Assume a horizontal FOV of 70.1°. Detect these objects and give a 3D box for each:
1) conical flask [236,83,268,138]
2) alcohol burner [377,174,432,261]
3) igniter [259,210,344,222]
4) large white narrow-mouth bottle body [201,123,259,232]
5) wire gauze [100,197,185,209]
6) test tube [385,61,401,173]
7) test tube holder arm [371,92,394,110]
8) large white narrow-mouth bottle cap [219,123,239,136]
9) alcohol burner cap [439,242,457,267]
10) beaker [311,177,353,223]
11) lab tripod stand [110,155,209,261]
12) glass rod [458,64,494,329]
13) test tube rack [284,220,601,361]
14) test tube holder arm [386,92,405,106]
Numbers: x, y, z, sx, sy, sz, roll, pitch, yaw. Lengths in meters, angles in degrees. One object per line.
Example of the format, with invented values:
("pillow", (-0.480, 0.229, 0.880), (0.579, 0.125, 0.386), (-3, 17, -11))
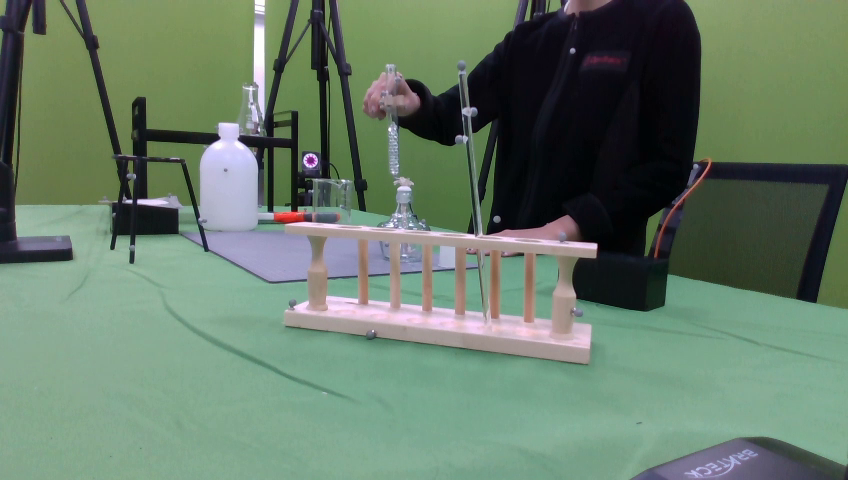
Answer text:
("conical flask", (-0.400, -0.298, 1.396), (0.075, 0.122, 0.075), (2, 8, 0))
("alcohol burner", (-0.027, -0.031, 0.838), (0.078, 0.119, 0.078), (0, 6, 0))
("igniter", (-0.303, -0.049, 1.258), (0.278, 0.025, 0.057), (-2, -2, -28))
("large white narrow-mouth bottle body", (-0.358, -0.116, 1.116), (0.102, 0.194, 0.102), (2, 8, 0))
("wire gauze", (-0.469, -0.062, 1.008), (0.126, 0.011, 0.121), (-2, 8, -25))
("test tube", (-0.043, -0.168, 0.831), (0.017, 0.150, 0.017), (-2, 8, 1))
("test tube holder arm", (-0.063, -0.203, 0.890), (0.013, 0.015, 0.178), (-2, 9, -14))
("large white narrow-mouth bottle cap", (-0.356, -0.201, 1.104), (0.038, 0.024, 0.037), (2, 8, 0))
("alcohol burner cap", (0.037, 0.011, 0.807), (0.034, 0.048, 0.034), (4, 8, 0))
("beaker", (-0.167, -0.064, 1.106), (0.074, 0.100, 0.083), (-2, 9, -27))
("lab tripod stand", (-0.361, -0.046, 0.806), (0.148, 0.131, 0.148), (2, 5, 0))
("glass rod", (0.039, -0.029, 0.449), (0.008, 0.199, 0.008), (-7, 9, 1))
("test tube rack", (0.013, 0.032, 0.482), (0.242, 0.085, 0.067), (4, 7, 16))
("test tube holder arm", (-0.045, -0.197, 0.849), (0.010, 0.015, 0.087), (-4, 9, -21))
